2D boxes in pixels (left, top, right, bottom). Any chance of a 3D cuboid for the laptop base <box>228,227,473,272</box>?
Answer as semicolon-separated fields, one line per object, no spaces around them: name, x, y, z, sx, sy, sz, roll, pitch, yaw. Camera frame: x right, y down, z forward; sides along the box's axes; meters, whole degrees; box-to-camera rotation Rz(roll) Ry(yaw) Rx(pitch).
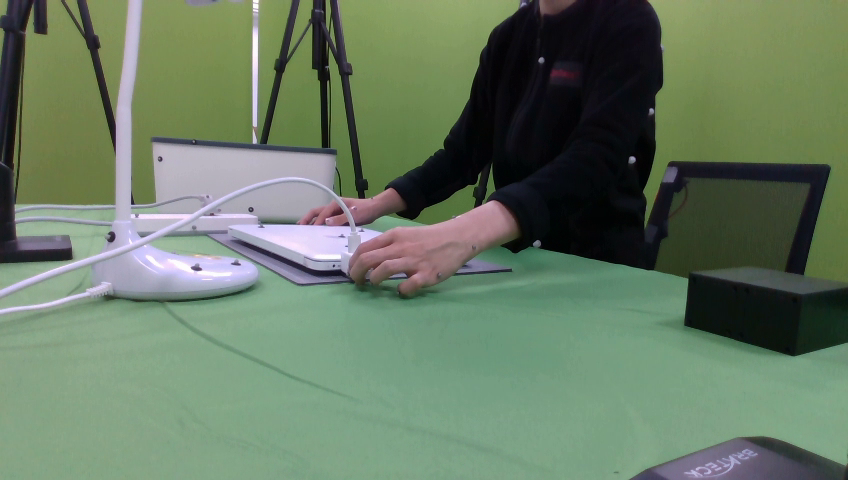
laptop base;-0.124;0.012;0.889;0.237;0.023;0.352;2;6;-35

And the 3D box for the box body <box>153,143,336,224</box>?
box body;-0.380;-0.130;1.344;0.365;0.160;0.253;1;7;-9

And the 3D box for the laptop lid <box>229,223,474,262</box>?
laptop lid;-0.121;0.000;0.888;0.243;0.013;0.355;1;7;-33

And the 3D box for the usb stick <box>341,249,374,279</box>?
usb stick;-0.079;0.026;0.686;0.021;0.027;0.059;-7;8;-30

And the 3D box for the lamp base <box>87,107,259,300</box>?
lamp base;-0.254;-0.039;0.603;0.160;0.180;0.179;5;10;18

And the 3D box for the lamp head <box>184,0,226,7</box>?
lamp head;-0.229;-0.320;0.627;0.112;0.112;0.123;6;-36;26

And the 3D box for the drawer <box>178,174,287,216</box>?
drawer;-0.414;-0.104;1.342;0.212;0.073;0.194;5;7;-11

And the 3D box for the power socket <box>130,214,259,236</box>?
power socket;-0.397;-0.028;1.048;0.228;0.032;0.072;-3;7;-35

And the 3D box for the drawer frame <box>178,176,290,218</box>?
drawer frame;-0.409;-0.100;1.340;0.214;0.082;0.201;-4;7;-10

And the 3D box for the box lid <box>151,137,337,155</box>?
box lid;-0.379;-0.203;1.334;0.372;0.015;0.262;2;7;-9

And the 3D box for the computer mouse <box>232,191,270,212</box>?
computer mouse;-0.382;-0.086;1.343;0.063;0.041;0.117;9;10;-4

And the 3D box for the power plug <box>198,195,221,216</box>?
power plug;-0.386;-0.055;1.088;0.035;0.052;0.072;-1;6;-24
